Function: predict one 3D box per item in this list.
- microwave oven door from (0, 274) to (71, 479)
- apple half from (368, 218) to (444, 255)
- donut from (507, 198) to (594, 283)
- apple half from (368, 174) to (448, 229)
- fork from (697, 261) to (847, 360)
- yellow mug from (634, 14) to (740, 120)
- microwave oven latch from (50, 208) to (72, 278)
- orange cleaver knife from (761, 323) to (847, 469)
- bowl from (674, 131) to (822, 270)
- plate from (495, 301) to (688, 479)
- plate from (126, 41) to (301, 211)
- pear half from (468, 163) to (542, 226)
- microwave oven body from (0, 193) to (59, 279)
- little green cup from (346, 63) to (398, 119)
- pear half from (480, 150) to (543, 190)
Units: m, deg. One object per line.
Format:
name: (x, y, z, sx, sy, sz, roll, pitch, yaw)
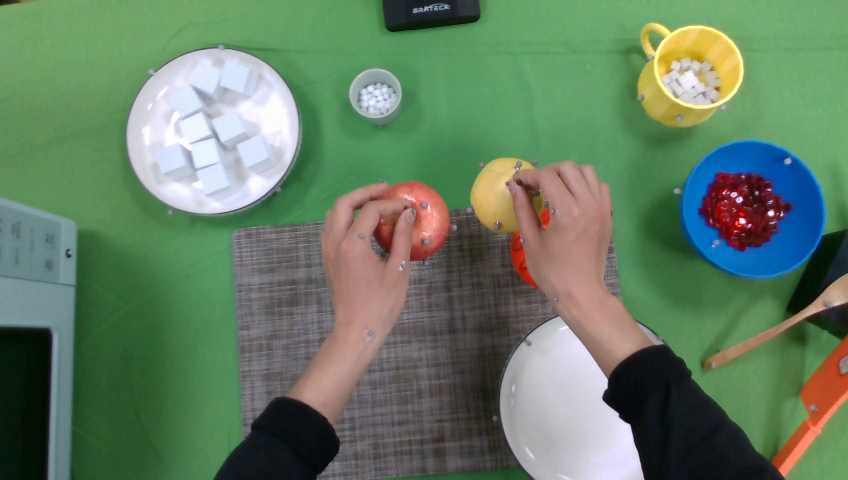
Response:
microwave oven door: (-0.423, 0.207, 0.570, 0.039, 0.244, 0.354, -3, 82, 2)
apple half: (-0.017, 0.000, 0.613, 0.081, 0.081, 0.032, 3, 81, 3)
donut: (0.143, 0.001, 0.693, 0.099, 0.048, 0.099, -1, 83, 5)
apple half: (-0.014, -0.039, 0.616, 0.080, 0.075, 0.053, 3, 82, 12)
fork: (0.391, 0.077, 0.657, 0.207, 0.018, 0.028, -36, 89, 18)
yellow mug: (0.294, -0.210, 0.708, 0.100, 0.064, 0.130, -38, 82, -3)
microwave oven latch: (-0.427, 0.004, 0.699, 0.030, 0.029, 0.079, -1, 83, 1)
orange cleaver knife: (0.424, 0.155, 0.648, 0.012, 0.077, 0.212, 26, 114, 4)
bowl: (0.346, -0.038, 0.678, 0.151, 0.077, 0.151, 0, 83, 2)
plate: (0.182, 0.172, 0.672, 0.209, 0.038, 0.208, 0, 82, 2)
plate: (-0.249, -0.134, 0.730, 0.207, 0.039, 0.207, 0, 82, 2)
pear half: (0.080, -0.044, 0.610, 0.076, 0.110, 0.056, 19, 84, 4)
microwave oven body: (-0.571, 0.173, 0.585, 0.326, 0.261, 0.440, -3, 83, 1)
little green cup: (-0.060, -0.177, 0.729, 0.061, 0.039, 0.061, 0, 82, 2)
pear half: (0.093, -0.076, 0.623, 0.070, 0.088, 0.031, 17, 83, 5)
